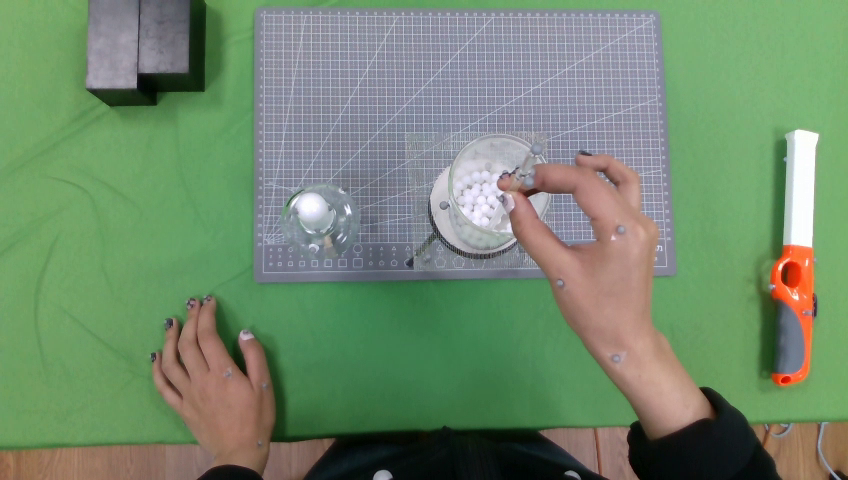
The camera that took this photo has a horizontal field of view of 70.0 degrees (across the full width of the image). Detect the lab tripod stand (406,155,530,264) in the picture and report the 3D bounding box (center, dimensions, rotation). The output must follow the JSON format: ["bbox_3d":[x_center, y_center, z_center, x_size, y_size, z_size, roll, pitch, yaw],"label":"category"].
[{"bbox_3d":[0.043,-0.026,0.584,0.148,0.132,0.148,0,83,-1],"label":"lab tripod stand"}]

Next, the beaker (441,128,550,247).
[{"bbox_3d":[0.052,-0.032,0.471,0.074,0.100,0.084,-33,85,-6],"label":"beaker"}]

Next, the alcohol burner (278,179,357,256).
[{"bbox_3d":[-0.104,-0.025,0.586,0.078,0.119,0.077,1,81,-3],"label":"alcohol burner"}]

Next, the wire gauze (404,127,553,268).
[{"bbox_3d":[0.046,-0.037,0.519,0.125,0.011,0.121,-2,82,-1],"label":"wire gauze"}]

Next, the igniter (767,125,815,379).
[{"bbox_3d":[0.399,0.012,0.655,0.057,0.025,0.276,8,84,-13],"label":"igniter"}]

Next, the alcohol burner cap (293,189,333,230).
[{"bbox_3d":[-0.102,-0.029,0.550,0.034,0.048,0.033,0,80,-1],"label":"alcohol burner cap"}]

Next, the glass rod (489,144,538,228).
[{"bbox_3d":[0.057,-0.030,0.411,0.008,0.200,0.008,0,80,0],"label":"glass rod"}]
